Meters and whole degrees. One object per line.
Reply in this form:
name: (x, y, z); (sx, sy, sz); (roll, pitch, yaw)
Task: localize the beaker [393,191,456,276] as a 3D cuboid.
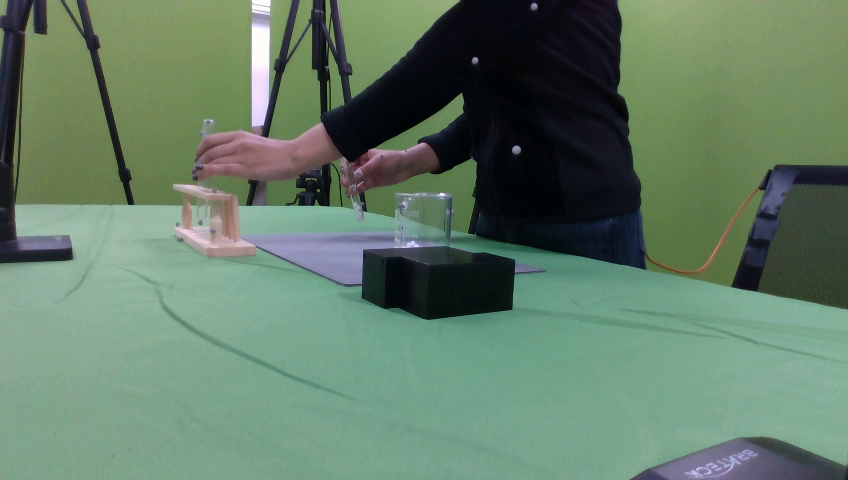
beaker: (-0.004, -0.010, 0.749); (0.074, 0.100, 0.083); (-3, 9, -40)

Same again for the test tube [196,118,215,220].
test tube: (-0.323, -0.104, 0.894); (0.017, 0.150, 0.017); (6, 2, 0)

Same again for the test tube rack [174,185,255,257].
test tube rack: (-0.325, -0.035, 0.922); (0.067, 0.085, 0.241); (-2, 9, -32)

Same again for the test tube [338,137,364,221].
test tube: (-0.128, -0.106, 1.064); (0.017, 0.150, 0.017); (-10, 15, 3)
